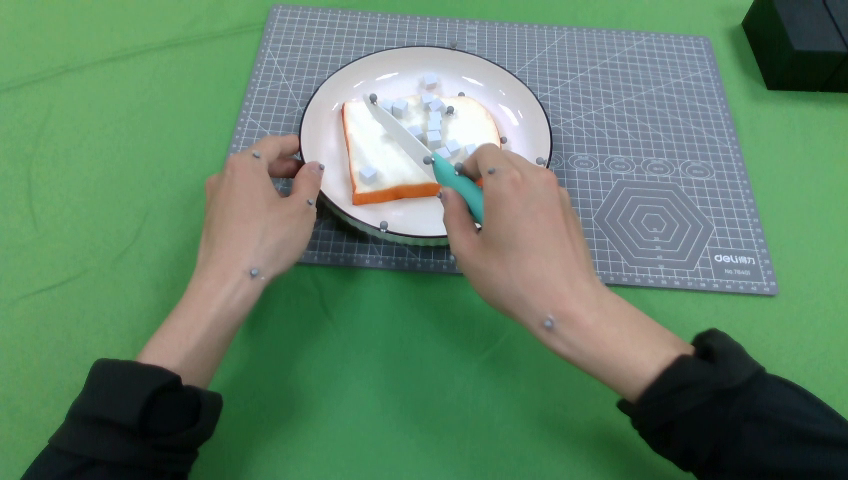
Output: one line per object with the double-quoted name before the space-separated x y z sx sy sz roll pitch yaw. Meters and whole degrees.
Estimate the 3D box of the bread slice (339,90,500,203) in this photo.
"bread slice" -0.003 -0.086 0.511 0.132 0.019 0.104 -9 59 -8

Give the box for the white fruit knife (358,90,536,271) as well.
"white fruit knife" 0.008 -0.053 0.435 0.016 0.027 0.205 -26 56 -28

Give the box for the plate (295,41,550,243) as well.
"plate" -0.001 -0.083 0.507 0.209 0.038 0.207 2 59 -2
